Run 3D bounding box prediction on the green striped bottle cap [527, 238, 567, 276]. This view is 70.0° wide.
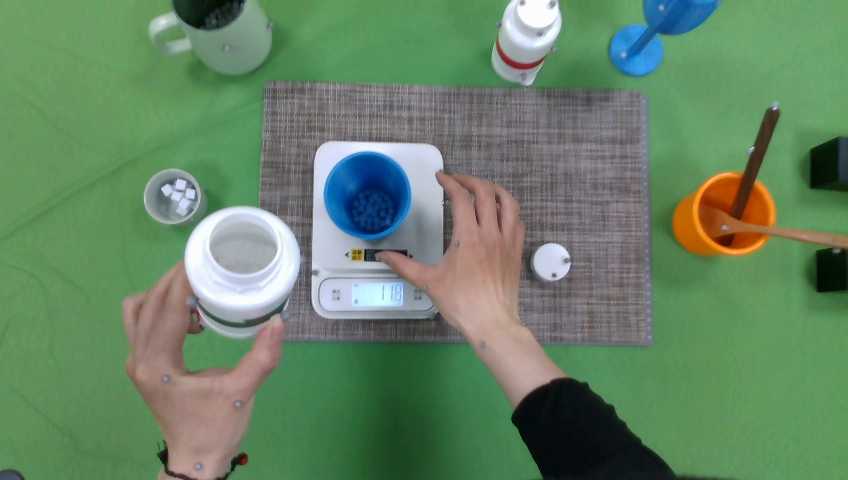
[{"bbox_3d":[0.143,0.019,0.702,0.044,0.020,0.044,0,80,1],"label":"green striped bottle cap"}]

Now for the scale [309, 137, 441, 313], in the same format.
[{"bbox_3d":[-0.055,-0.017,0.689,0.149,0.031,0.200,0,84,-2],"label":"scale"}]

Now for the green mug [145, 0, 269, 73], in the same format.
[{"bbox_3d":[-0.243,-0.239,0.673,0.125,0.105,0.092,-21,85,-4],"label":"green mug"}]

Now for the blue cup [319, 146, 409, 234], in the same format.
[{"bbox_3d":[-0.058,-0.044,0.626,0.093,0.100,0.092,0,86,-2],"label":"blue cup"}]

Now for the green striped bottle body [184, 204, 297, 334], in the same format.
[{"bbox_3d":[-0.113,0.019,0.378,0.063,0.119,0.063,5,71,-15],"label":"green striped bottle body"}]

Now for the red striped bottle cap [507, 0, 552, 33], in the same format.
[{"bbox_3d":[0.109,-0.239,0.625,0.044,0.018,0.044,0,81,-2],"label":"red striped bottle cap"}]

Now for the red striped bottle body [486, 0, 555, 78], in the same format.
[{"bbox_3d":[0.108,-0.233,0.678,0.063,0.120,0.063,0,83,-2],"label":"red striped bottle body"}]

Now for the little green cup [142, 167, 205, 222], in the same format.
[{"bbox_3d":[-0.279,-0.049,0.683,0.061,0.038,0.061,0,83,-3],"label":"little green cup"}]

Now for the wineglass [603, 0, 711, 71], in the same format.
[{"bbox_3d":[0.253,-0.248,0.659,0.074,0.172,0.073,0,83,-1],"label":"wineglass"}]

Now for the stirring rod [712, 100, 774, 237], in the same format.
[{"bbox_3d":[0.343,-0.071,0.656,0.014,0.178,0.006,9,43,13],"label":"stirring rod"}]

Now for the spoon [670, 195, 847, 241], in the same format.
[{"bbox_3d":[0.361,-0.018,0.651,0.022,0.192,0.041,14,90,-44],"label":"spoon"}]
